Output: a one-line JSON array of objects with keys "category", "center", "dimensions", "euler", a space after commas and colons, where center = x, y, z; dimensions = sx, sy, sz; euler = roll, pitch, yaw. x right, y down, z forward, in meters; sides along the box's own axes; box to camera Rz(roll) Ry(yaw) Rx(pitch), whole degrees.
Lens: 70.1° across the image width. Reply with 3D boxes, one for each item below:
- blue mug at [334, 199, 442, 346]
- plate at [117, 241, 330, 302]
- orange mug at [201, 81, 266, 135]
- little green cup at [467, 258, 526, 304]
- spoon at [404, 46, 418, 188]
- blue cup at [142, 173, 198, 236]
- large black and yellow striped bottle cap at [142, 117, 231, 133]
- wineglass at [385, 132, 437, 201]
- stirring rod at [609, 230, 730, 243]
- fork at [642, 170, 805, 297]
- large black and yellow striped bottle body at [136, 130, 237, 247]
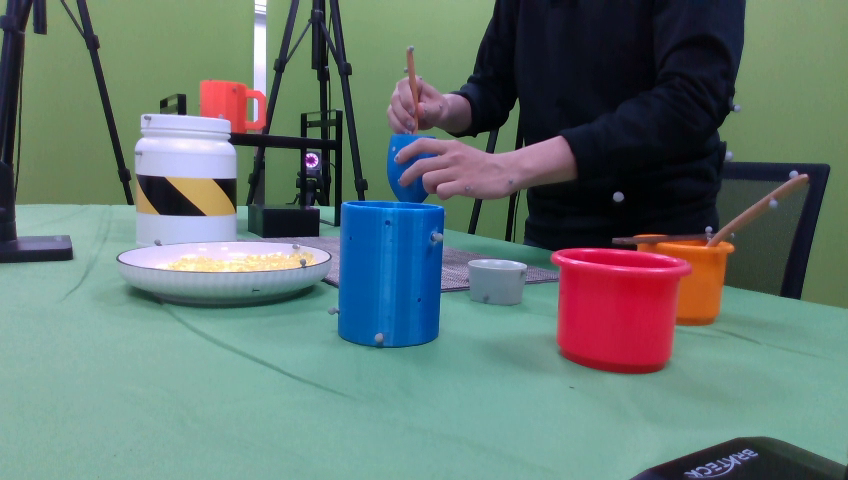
[{"category": "blue mug", "center": [-0.034, 0.020, 0.498], "dimensions": [0.083, 0.106, 0.116], "euler": [0, 7, -20]}, {"category": "plate", "center": [-0.203, 0.031, 0.630], "dimensions": [0.209, 0.038, 0.209], "euler": [3, 7, 0]}, {"category": "orange mug", "center": [-0.376, -0.260, 1.198], "dimensions": [0.126, 0.101, 0.083], "euler": [-3, 8, -6]}, {"category": "little green cup", "center": [0.074, 0.042, 0.625], "dimensions": [0.061, 0.038, 0.061], "euler": [3, 7, 0]}, {"category": "spoon", "center": [-0.017, -0.168, 0.836], "dimensions": [0.022, 0.193, 0.041], "euler": [0, 10, -7]}, {"category": "blue cup", "center": [-0.425, -0.060, 1.014], "dimensions": [0.093, 0.100, 0.092], "euler": [4, 9, 0]}, {"category": "large black and yellow striped bottle cap", "center": [-0.328, -0.159, 0.839], "dimensions": [0.115, 0.019, 0.115], "euler": [1, 9, 0]}, {"category": "wineglass", "center": [-0.020, -0.061, 0.842], "dimensions": [0.074, 0.172, 0.073], "euler": [2, 7, 0]}, {"category": "stirring rod", "center": [0.241, -0.004, 0.582], "dimensions": [0.177, 0.006, 0.014], "euler": [-3, 10, -33]}, {"category": "fork", "center": [0.261, 0.004, 0.545], "dimensions": [0.028, 0.018, 0.207], "euler": [5, -37, -15]}, {"category": "large black and yellow striped bottle body", "center": [-0.332, -0.076, 0.851], "dimensions": [0.131, 0.184, 0.130], "euler": [3, 8, 0]}]
